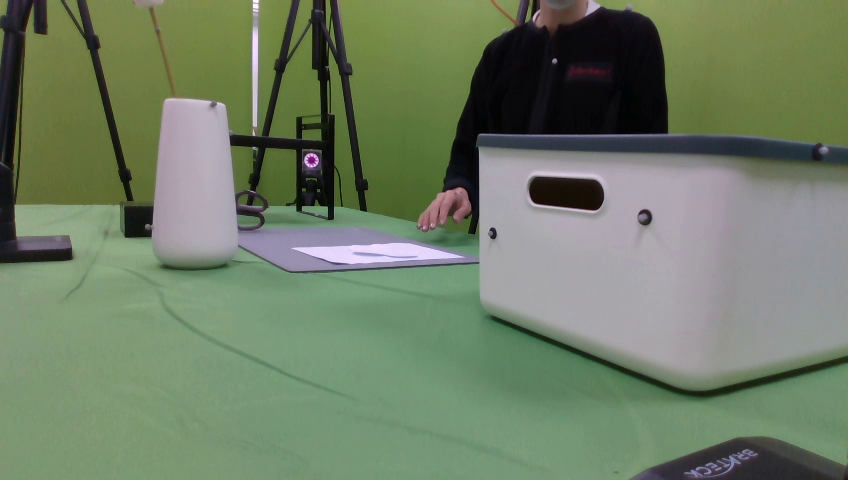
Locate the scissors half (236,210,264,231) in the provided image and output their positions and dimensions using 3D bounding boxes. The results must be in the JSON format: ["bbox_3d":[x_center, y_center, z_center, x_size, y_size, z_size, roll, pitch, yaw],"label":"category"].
[{"bbox_3d":[-0.369,-0.051,1.064,0.176,0.040,0.012,19,13,-27],"label":"scissors half"}]

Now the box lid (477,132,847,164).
[{"bbox_3d":[0.257,-0.072,0.531,0.373,0.015,0.262,-1,8,-31],"label":"box lid"}]

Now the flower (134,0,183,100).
[{"bbox_3d":[-0.282,-0.147,0.713,0.038,0.362,0.044,-23,24,-31],"label":"flower"}]

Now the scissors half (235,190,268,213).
[{"bbox_3d":[-0.363,-0.070,1.060,0.176,0.040,0.013,0,16,-23],"label":"scissors half"}]

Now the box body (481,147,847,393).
[{"bbox_3d":[0.255,0.001,0.541,0.366,0.160,0.253,-2,9,-31],"label":"box body"}]

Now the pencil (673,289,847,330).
[{"bbox_3d":[0.330,0.066,0.609,0.012,0.012,0.193,-1,6,-28],"label":"pencil"}]

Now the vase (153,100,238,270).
[{"bbox_3d":[-0.278,-0.066,0.736,0.098,0.200,0.098,2,9,0],"label":"vase"}]
